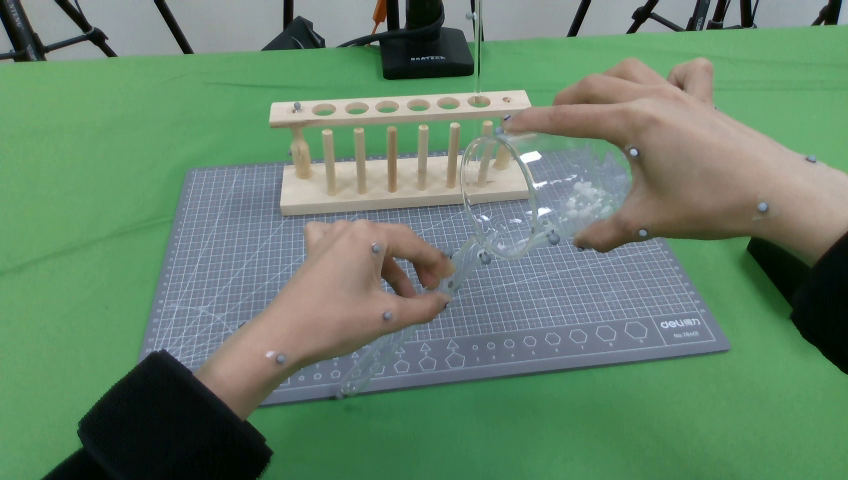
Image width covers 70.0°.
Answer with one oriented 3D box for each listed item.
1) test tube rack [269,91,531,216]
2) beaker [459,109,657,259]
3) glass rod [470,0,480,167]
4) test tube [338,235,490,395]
[{"bbox_3d":[-0.020,-0.084,0.585,0.243,0.086,0.066,-4,43,-5],"label":"test tube rack"},{"bbox_3d":[0.082,-0.035,0.368,0.100,0.084,0.073,-17,58,-24],"label":"beaker"},{"bbox_3d":[0.048,-0.158,0.567,0.008,0.201,0.008,-1,36,1],"label":"glass rod"},{"bbox_3d":[-0.010,0.053,0.403,0.017,0.150,0.017,36,20,-15],"label":"test tube"}]
